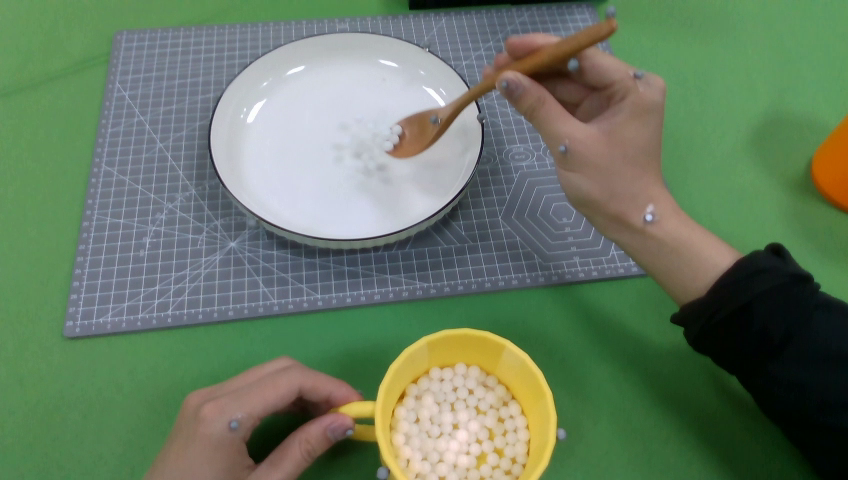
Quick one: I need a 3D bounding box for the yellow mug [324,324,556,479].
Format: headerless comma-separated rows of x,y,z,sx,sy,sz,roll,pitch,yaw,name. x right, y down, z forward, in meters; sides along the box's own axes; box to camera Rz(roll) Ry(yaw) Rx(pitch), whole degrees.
0.007,0.107,0.356,0.131,0.064,0.099,2,60,0,yellow mug

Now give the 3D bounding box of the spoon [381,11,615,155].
0.034,-0.096,0.384,0.022,0.193,0.041,23,65,-32,spoon

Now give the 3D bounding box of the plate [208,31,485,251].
-0.057,-0.078,0.472,0.208,0.039,0.206,1,60,-2,plate
